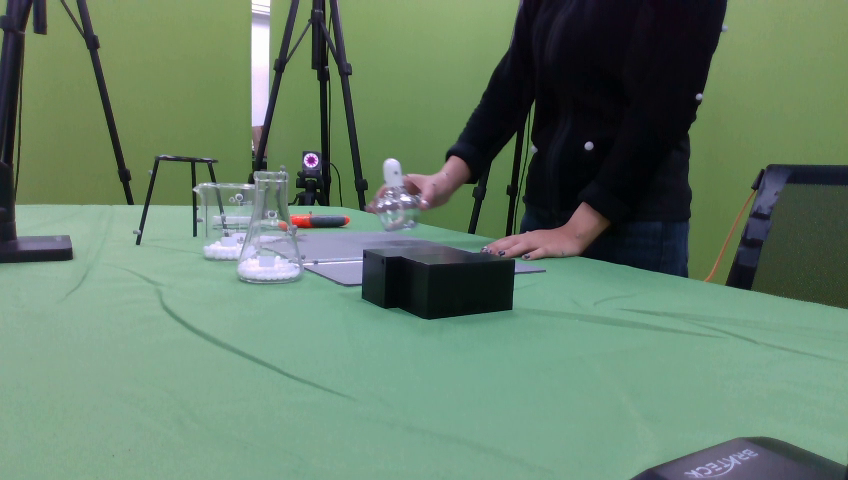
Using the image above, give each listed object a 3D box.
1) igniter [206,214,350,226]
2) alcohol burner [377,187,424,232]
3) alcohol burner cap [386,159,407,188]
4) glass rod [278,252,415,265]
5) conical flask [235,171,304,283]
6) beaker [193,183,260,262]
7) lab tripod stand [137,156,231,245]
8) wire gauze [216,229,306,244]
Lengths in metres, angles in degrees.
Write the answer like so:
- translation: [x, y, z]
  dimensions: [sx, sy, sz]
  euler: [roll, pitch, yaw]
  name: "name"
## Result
- translation: [-0.279, -0.038, 1.185]
  dimensions: [0.278, 0.025, 0.057]
  euler: [-2, -1, -30]
  name: "igniter"
- translation: [-0.041, -0.073, 0.986]
  dimensions: [0.078, 0.119, 0.078]
  euler: [-7, 4, 1]
  name: "alcohol burner"
- translation: [-0.047, -0.108, 0.982]
  dimensions: [0.034, 0.048, 0.034]
  euler: [-7, 10, 2]
  name: "alcohol burner cap"
- translation: [-0.097, 0.024, 0.805]
  dimensions: [0.201, 0.008, 0.008]
  euler: [-3, 8, -33]
  name: "glass rod"
- translation: [-0.172, -0.016, 0.677]
  dimensions: [0.075, 0.122, 0.075]
  euler: [2, 7, 0]
  name: "conical flask"
- translation: [-0.262, -0.025, 0.806]
  dimensions: [0.084, 0.100, 0.073]
  euler: [-3, 9, -30]
  name: "beaker"
- translation: [-0.358, -0.061, 0.927]
  dimensions: [0.148, 0.131, 0.148]
  euler: [4, 6, 0]
  name: "lab tripod stand"
- translation: [-0.273, -0.009, 1.012]
  dimensions: [0.122, 0.011, 0.124]
  euler: [-2, 9, -33]
  name: "wire gauze"
